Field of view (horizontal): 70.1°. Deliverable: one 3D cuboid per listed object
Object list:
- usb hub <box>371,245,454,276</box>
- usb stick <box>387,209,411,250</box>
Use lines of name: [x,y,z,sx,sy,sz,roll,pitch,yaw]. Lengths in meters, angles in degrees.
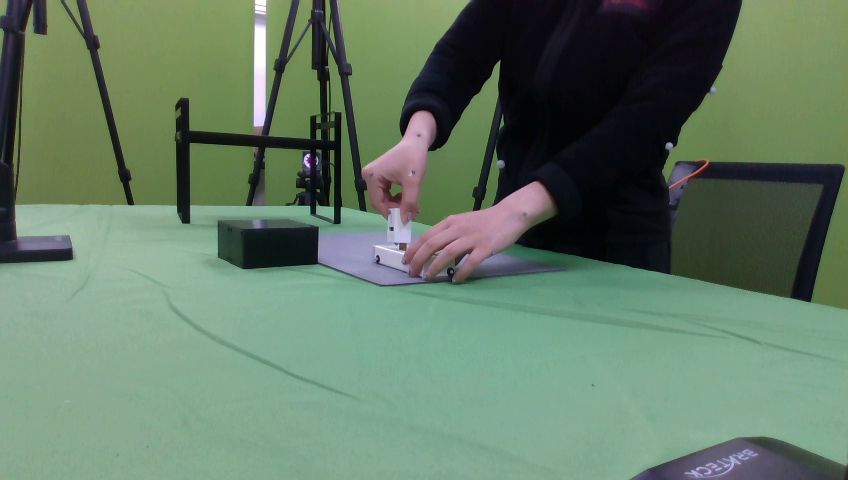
usb hub: [-0.018,0.025,0.776,0.050,0.025,0.124,0,6,-34]
usb stick: [-0.032,-0.011,0.771,0.027,0.059,0.021,-5,6,-29]
